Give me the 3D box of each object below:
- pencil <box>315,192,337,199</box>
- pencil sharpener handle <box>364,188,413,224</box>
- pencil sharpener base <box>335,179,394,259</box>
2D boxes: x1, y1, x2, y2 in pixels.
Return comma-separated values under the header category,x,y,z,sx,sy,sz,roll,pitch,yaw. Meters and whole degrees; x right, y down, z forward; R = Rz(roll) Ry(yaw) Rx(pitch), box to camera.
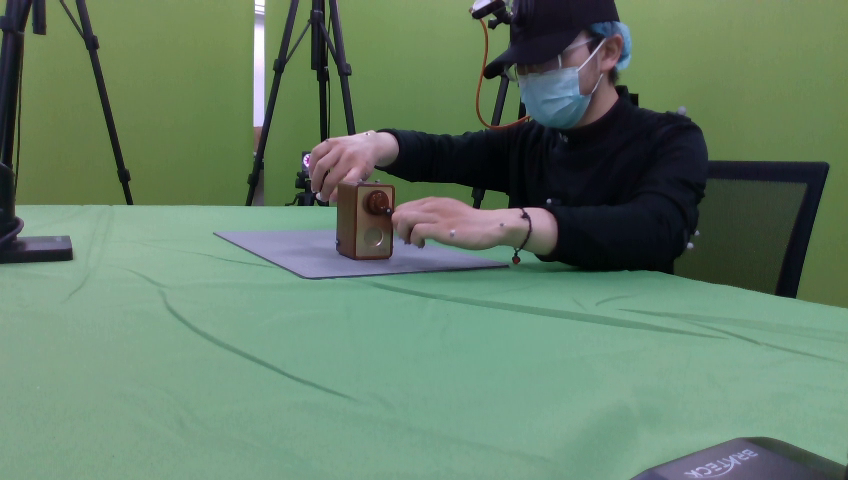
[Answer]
category,x,y,z,sx,sy,sz,roll,pitch,yaw
pencil,-0.135,-0.068,0.946,0.012,0.012,0.193,-2,6,-29
pencil sharpener handle,-0.046,-0.043,0.814,0.068,0.036,0.030,34,-9,-29
pencil sharpener base,-0.084,-0.030,0.854,0.061,0.107,0.076,-1,9,-29
